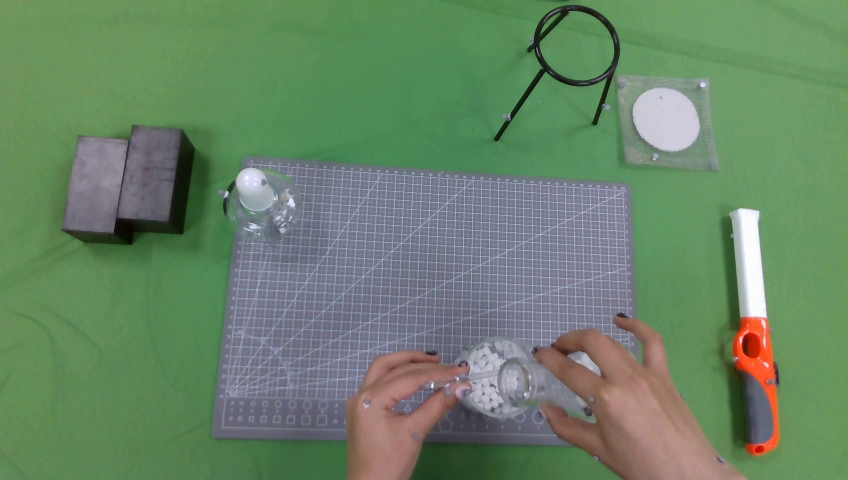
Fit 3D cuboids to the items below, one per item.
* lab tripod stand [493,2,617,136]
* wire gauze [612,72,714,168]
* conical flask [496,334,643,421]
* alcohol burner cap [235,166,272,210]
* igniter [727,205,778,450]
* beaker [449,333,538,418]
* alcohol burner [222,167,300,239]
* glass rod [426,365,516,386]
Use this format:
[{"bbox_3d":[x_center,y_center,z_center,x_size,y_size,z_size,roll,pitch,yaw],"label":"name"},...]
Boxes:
[{"bbox_3d":[0.144,-0.183,0.671,0.148,0.132,0.147,1,79,-6],"label":"lab tripod stand"},{"bbox_3d":[0.296,-0.150,0.746,0.125,0.011,0.121,2,77,-8],"label":"wire gauze"},{"bbox_3d":[0.117,0.114,0.504,0.123,0.075,0.075,8,74,-34],"label":"conical flask"},{"bbox_3d":[-0.163,-0.052,0.575,0.034,0.048,0.033,3,70,-7],"label":"alcohol burner cap"},{"bbox_3d":[0.372,0.095,0.689,0.057,0.025,0.275,6,76,-16],"label":"igniter"},{"bbox_3d":[0.067,0.133,0.605,0.084,0.100,0.074,-39,84,-14],"label":"beaker"},{"bbox_3d":[-0.167,-0.042,0.610,0.078,0.119,0.077,1,77,-4],"label":"alcohol burner"},{"bbox_3d":[0.048,0.119,0.536,0.008,0.201,0.008,-4,81,26],"label":"glass rod"}]
